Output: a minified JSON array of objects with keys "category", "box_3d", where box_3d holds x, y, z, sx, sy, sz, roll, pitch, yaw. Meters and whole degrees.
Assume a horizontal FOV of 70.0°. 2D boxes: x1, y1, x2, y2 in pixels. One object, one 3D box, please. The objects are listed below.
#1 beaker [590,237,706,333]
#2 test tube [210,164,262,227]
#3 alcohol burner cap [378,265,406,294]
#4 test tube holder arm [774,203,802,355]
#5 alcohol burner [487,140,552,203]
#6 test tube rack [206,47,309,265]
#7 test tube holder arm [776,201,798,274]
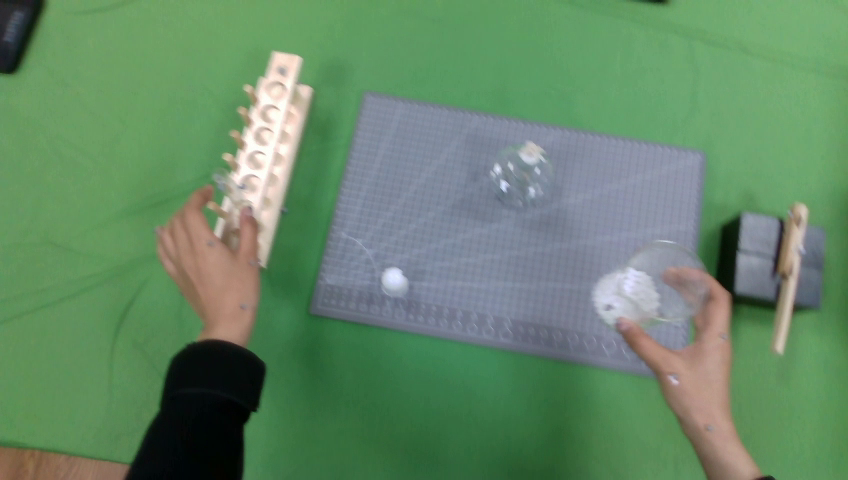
[{"category":"beaker","box_3d":[0.204,0.048,0.575,0.084,0.100,0.073,-12,74,-8]},{"category":"test tube","box_3d":[-0.200,-0.044,0.654,0.017,0.151,0.017,0,72,0]},{"category":"alcohol burner cap","box_3d":[-0.038,0.044,0.708,0.034,0.048,0.033,1,77,-2]},{"category":"test tube holder arm","box_3d":[0.415,0.042,0.689,0.013,0.015,0.177,11,78,3]},{"category":"alcohol burner","box_3d":[0.113,-0.087,0.707,0.078,0.119,0.077,0,76,1]},{"category":"test tube rack","box_3d":[-0.203,-0.100,0.718,0.067,0.085,0.241,11,76,1]},{"category":"test tube holder arm","box_3d":[0.419,-0.002,0.699,0.010,0.015,0.087,13,78,4]}]
